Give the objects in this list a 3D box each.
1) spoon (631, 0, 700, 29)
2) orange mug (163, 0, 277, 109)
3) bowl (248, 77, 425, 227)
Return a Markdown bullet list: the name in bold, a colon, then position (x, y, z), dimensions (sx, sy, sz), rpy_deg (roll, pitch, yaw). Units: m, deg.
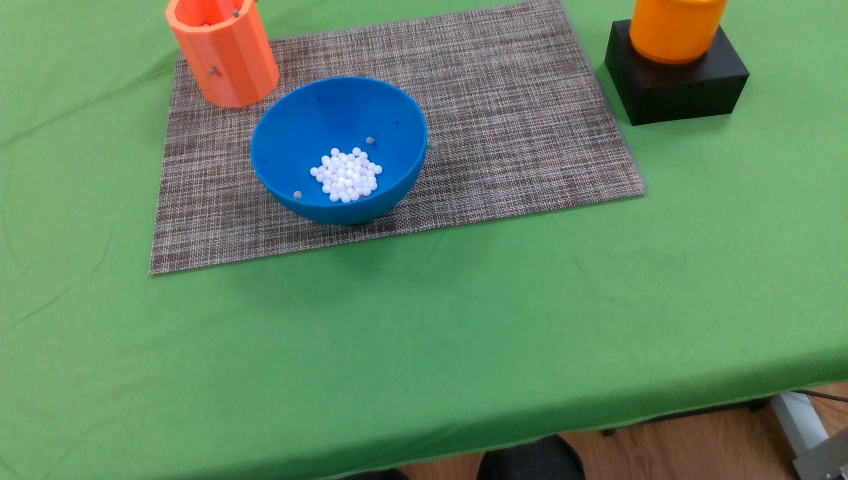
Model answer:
- **spoon**: position (0.267, -0.229, 0.526), dimensions (0.022, 0.193, 0.041), rpy_deg (48, 57, -17)
- **orange mug**: position (-0.207, -0.216, 0.638), dimensions (0.083, 0.101, 0.125), rpy_deg (1, 61, 5)
- **bowl**: position (-0.071, -0.065, 0.539), dimensions (0.151, 0.077, 0.150), rpy_deg (-2, 56, 3)
